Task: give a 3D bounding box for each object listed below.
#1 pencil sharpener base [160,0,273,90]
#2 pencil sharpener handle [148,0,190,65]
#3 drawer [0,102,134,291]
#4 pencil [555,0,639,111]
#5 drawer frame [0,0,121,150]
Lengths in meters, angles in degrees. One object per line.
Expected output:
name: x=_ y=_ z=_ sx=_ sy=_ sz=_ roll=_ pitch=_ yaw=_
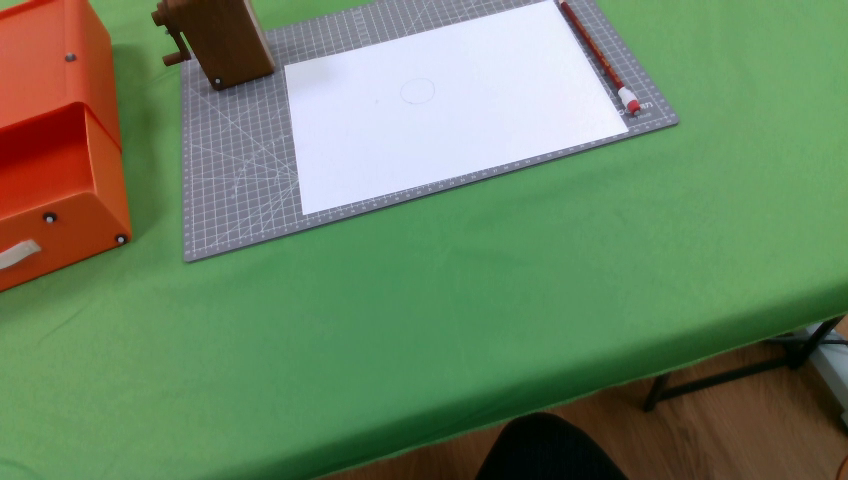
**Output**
pencil sharpener base: x=-0.210 y=-0.217 z=0.616 sx=0.077 sy=0.108 sz=0.060 roll=-21 pitch=55 yaw=-4
pencil sharpener handle: x=-0.259 y=-0.206 z=0.602 sx=0.030 sy=0.068 sz=0.035 roll=-21 pitch=52 yaw=-4
drawer: x=-0.386 y=-0.057 z=0.557 sx=0.194 sy=0.074 sz=0.209 roll=-23 pitch=55 yaw=-6
pencil: x=0.164 y=-0.191 z=0.596 sx=0.012 sy=0.012 sz=0.192 roll=-17 pitch=54 yaw=-2
drawer frame: x=-0.431 y=-0.144 z=0.621 sx=0.202 sy=0.083 sz=0.211 roll=-22 pitch=55 yaw=-6
